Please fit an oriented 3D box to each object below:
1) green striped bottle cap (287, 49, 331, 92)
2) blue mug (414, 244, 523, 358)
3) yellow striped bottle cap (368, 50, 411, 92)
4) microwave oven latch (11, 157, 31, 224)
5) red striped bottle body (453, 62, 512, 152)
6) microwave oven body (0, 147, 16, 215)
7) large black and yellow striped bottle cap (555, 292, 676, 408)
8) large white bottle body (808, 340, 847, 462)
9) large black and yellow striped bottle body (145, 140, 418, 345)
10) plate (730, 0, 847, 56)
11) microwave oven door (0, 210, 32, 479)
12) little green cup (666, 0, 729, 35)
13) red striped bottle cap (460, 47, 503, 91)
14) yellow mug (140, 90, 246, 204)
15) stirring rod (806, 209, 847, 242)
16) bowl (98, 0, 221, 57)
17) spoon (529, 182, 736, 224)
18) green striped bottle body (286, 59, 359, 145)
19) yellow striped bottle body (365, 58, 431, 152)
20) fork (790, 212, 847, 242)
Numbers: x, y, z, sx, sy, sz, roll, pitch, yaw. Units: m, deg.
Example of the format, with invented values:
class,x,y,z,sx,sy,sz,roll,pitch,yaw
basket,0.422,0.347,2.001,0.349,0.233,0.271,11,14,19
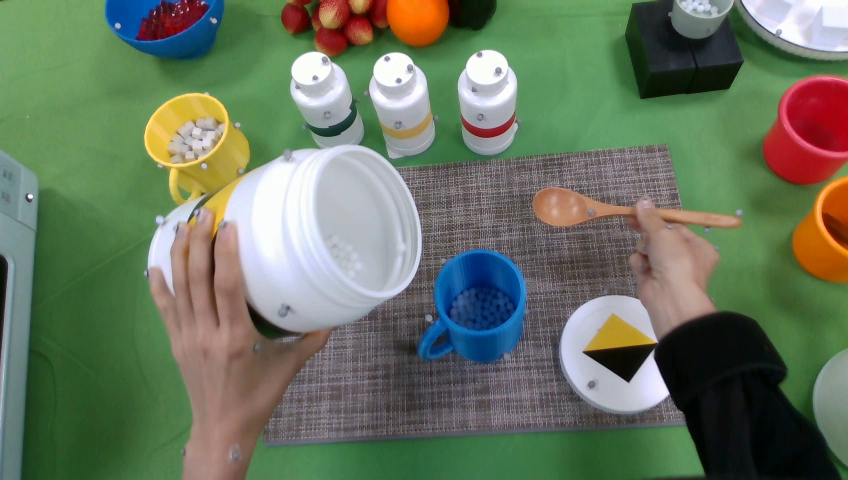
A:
class,x,y,z,sx,sy,sz,roll,pitch,yaw
green striped bottle cap,-0.122,-0.179,0.639,0.044,0.020,0.044,-2,66,5
blue mug,0.039,0.071,0.579,0.116,0.106,0.081,-36,68,-9
yellow striped bottle cap,-0.036,-0.175,0.627,0.044,0.019,0.044,-1,64,2
microwave oven latch,-0.482,-0.056,0.710,0.030,0.030,0.078,-12,68,1
red striped bottle body,0.065,-0.154,0.665,0.063,0.120,0.062,-2,66,6
microwave oven body,-0.601,0.099,0.555,0.326,0.262,0.438,-13,68,0
large black and yellow striped bottle cap,0.187,0.106,0.597,0.115,0.019,0.114,-2,66,5
large white bottle body,0.411,0.120,0.477,0.130,0.186,0.129,-2,67,6
large black and yellow striped bottle body,-0.108,0.005,0.464,0.183,0.132,0.130,-17,62,36
plate,0.467,-0.301,0.724,0.209,0.038,0.207,-2,68,5
microwave oven door,-0.451,0.102,0.532,0.039,0.246,0.353,-13,67,2
little green cup,0.300,-0.260,0.671,0.061,0.039,0.061,-2,66,4
red striped bottle cap,0.059,-0.174,0.616,0.044,0.018,0.044,-1,66,2
yellow mug,-0.273,-0.102,0.711,0.100,0.064,0.130,5,69,8
stirring rod,0.401,0.005,0.553,0.014,0.006,0.175,-1,24,3
bowl,-0.328,-0.294,0.789,0.151,0.077,0.150,-2,68,5
spoon,0.199,-0.030,0.588,0.193,0.022,0.041,6,73,15
green striped bottle body,-0.115,-0.159,0.687,0.063,0.120,0.062,-2,67,5
yellow striped bottle body,-0.029,-0.156,0.676,0.063,0.121,0.062,-2,67,6
fork,0.430,0.004,0.542,0.028,0.019,0.205,-31,23,-15
